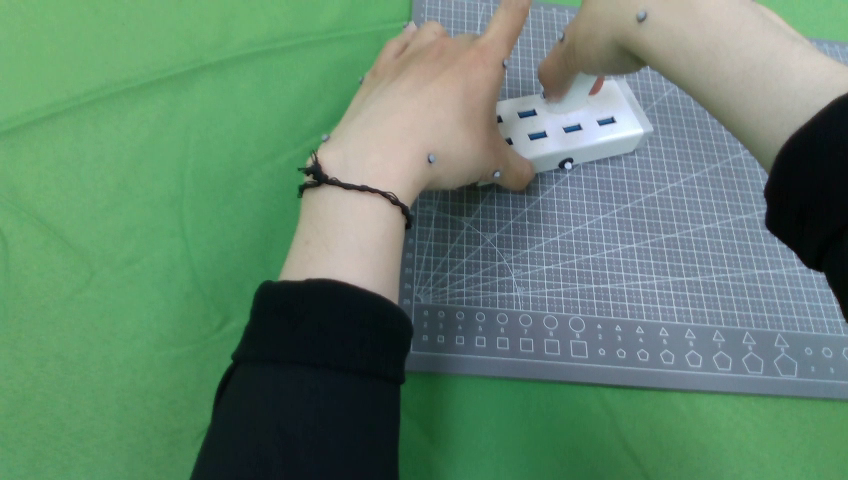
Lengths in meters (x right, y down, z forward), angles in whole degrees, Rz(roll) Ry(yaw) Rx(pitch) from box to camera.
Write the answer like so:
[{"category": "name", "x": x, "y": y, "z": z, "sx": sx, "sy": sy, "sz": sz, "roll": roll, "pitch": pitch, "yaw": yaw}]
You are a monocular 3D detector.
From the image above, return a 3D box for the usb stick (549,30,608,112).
[{"category": "usb stick", "x": 0.097, "y": -0.103, "z": 0.389, "sx": 0.021, "sy": 0.059, "sz": 0.027, "roll": -22, "pitch": 63, "yaw": -10}]

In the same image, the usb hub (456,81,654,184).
[{"category": "usb hub", "x": 0.088, "y": -0.075, "z": 0.408, "sx": 0.125, "sy": 0.025, "sz": 0.049, "roll": -12, "pitch": 66, "yaw": -15}]
